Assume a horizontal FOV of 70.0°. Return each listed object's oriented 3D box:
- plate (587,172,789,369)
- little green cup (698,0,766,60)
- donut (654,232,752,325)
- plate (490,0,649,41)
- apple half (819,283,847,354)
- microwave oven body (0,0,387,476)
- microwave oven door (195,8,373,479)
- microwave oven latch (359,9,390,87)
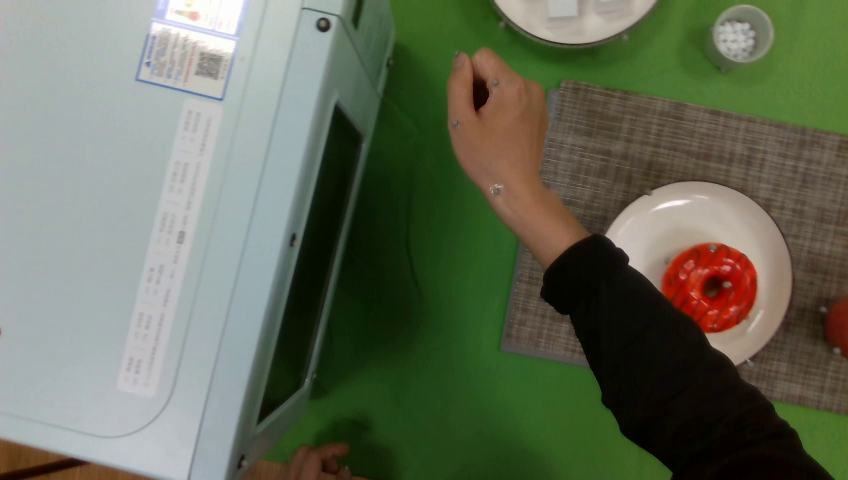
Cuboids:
[{"bbox_3d":[0.279,0.032,0.653,0.209,0.038,0.209,0,91,3],"label":"plate"},{"bbox_3d":[0.328,-0.225,0.651,0.061,0.038,0.061,0,90,3],"label":"little green cup"},{"bbox_3d":[0.295,0.041,0.641,0.099,0.048,0.099,0,92,3],"label":"donut"},{"bbox_3d":[0.156,-0.316,0.657,0.207,0.039,0.207,0,91,3],"label":"plate"},{"bbox_3d":[0.446,0.075,0.629,0.053,0.075,0.081,30,95,6],"label":"apple half"},{"bbox_3d":[-0.246,-0.069,0.562,0.326,0.260,0.441,13,92,2],"label":"microwave oven body"},{"bbox_3d":[-0.115,0.006,0.552,0.039,0.244,0.355,13,91,2],"label":"microwave oven door"},{"bbox_3d":[-0.056,-0.207,0.648,0.030,0.029,0.079,13,92,2],"label":"microwave oven latch"}]
